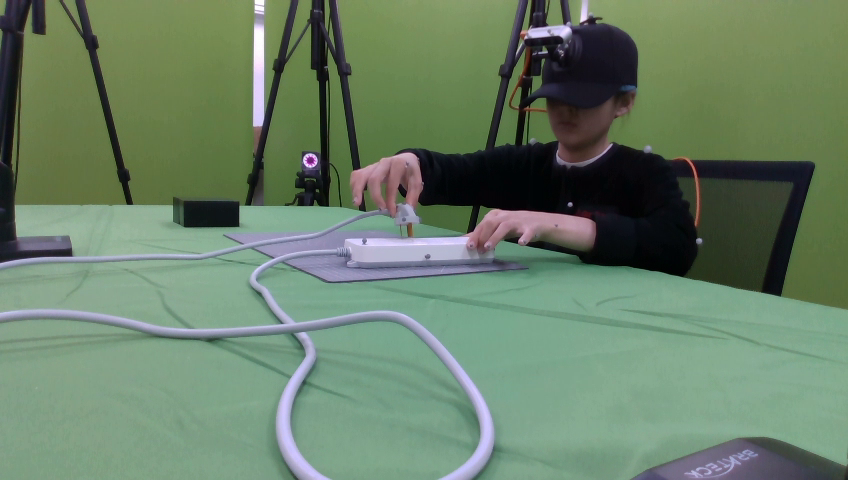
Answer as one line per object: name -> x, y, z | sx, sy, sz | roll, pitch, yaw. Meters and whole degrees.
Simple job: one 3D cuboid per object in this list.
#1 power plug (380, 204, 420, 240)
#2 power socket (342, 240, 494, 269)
power plug -> -0.032, -0.023, 0.853 | 0.035, 0.052, 0.072 | -2, -6, -24
power socket -> -0.005, 0.018, 0.831 | 0.228, 0.032, 0.072 | 0, 7, -26
